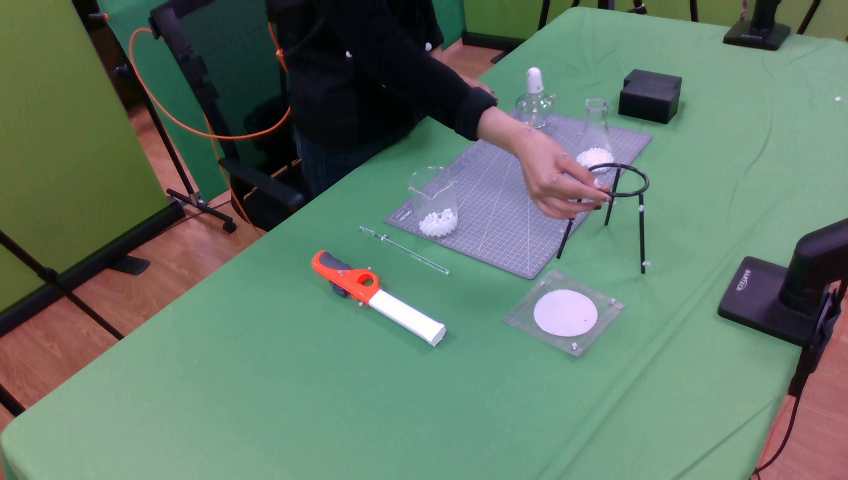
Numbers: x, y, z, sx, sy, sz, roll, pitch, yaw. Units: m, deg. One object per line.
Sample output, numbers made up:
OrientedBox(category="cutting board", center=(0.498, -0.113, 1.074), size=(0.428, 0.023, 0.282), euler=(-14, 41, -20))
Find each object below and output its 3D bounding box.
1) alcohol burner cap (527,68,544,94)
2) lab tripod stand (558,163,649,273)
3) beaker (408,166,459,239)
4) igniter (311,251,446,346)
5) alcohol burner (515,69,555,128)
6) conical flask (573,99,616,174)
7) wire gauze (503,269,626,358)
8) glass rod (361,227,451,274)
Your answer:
OrientedBox(category="alcohol burner cap", center=(0.216, -0.312, 1.179), size=(0.034, 0.048, 0.033), euler=(-10, 40, 9))
OrientedBox(category="lab tripod stand", center=(0.269, -0.037, 0.881), size=(0.148, 0.132, 0.147), euler=(-2, 35, 2))
OrientedBox(category="beaker", center=(0.018, -0.057, 0.984), size=(0.074, 0.101, 0.083), euler=(-6, 41, 5))
OrientedBox(category="igniter", center=(-0.078, 0.081, 0.899), size=(0.274, 0.025, 0.057), euler=(27, 62, 35))
OrientedBox(category="alcohol burner", center=(0.221, -0.285, 1.203), size=(0.078, 0.119, 0.077), euler=(-4, 39, 4))
OrientedBox(category="conical flask", center=(0.302, -0.184, 1.061), size=(0.075, 0.122, 0.075), euler=(-5, 40, 5))
OrientedBox(category="wire gauze", center=(0.195, 0.100, 0.840), size=(0.120, 0.011, 0.125), euler=(27, 54, 36))
OrientedBox(category="glass rod", center=(-0.033, 0.014, 0.985), size=(0.198, 0.008, 0.008), euler=(25, 52, 34))
